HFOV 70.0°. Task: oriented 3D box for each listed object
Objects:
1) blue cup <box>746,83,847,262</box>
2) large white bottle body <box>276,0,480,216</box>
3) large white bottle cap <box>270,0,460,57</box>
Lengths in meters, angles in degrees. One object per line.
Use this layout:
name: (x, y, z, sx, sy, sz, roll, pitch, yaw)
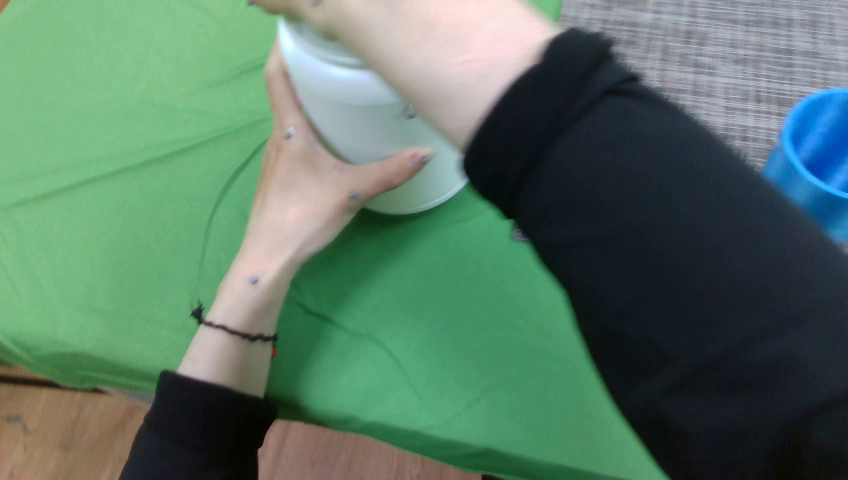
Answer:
blue cup: (0.264, -0.033, 0.404, 0.092, 0.101, 0.092, -3, 61, 6)
large white bottle body: (-0.026, -0.115, 0.429, 0.130, 0.186, 0.129, -2, 62, 4)
large white bottle cap: (-0.034, -0.154, 0.354, 0.115, 0.018, 0.114, -2, 62, 4)
